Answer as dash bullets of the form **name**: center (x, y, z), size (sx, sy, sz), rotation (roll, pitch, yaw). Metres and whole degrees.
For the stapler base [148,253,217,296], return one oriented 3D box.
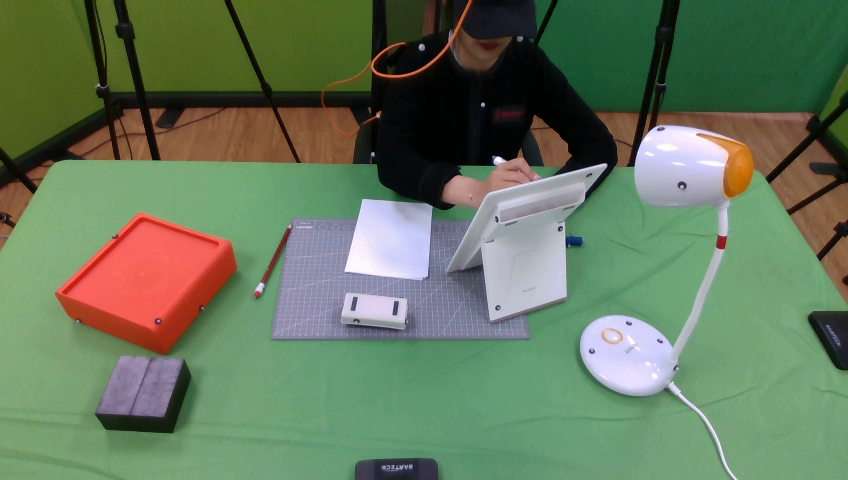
- **stapler base**: center (-0.443, 0.059, 1.109), size (0.130, 0.024, 0.041), rotation (24, 51, 11)

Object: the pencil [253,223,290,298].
- **pencil**: center (-0.286, 0.033, 1.150), size (0.012, 0.012, 0.193), rotation (9, 46, 4)

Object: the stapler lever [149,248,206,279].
- **stapler lever**: center (-0.443, 0.037, 1.084), size (0.118, 0.040, 0.027), rotation (19, 50, 17)

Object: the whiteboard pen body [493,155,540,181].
- **whiteboard pen body**: center (0.168, -0.114, 1.032), size (0.017, 0.017, 0.140), rotation (-27, 44, -27)

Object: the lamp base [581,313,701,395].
- **lamp base**: center (0.361, 0.144, 0.972), size (0.178, 0.181, 0.160), rotation (34, 53, 23)

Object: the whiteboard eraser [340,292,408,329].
- **whiteboard eraser**: center (-0.087, 0.125, 1.052), size (0.113, 0.042, 0.055), rotation (5, 45, 1)

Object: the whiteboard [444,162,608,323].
- **whiteboard**: center (0.186, 0.026, 1.028), size (0.217, 0.306, 0.143), rotation (-14, 68, -17)

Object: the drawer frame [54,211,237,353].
- **drawer frame**: center (-0.473, 0.067, 1.055), size (0.201, 0.083, 0.212), rotation (17, 48, 11)

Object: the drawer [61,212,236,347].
- **drawer**: center (-0.473, 0.064, 1.059), size (0.194, 0.073, 0.211), rotation (18, 48, 11)

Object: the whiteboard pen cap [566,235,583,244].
- **whiteboard pen cap**: center (0.303, 0.000, 1.221), size (0.033, 0.018, 0.018), rotation (3, 46, -2)

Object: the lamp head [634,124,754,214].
- **lamp head**: center (0.351, -0.089, 0.776), size (0.112, 0.113, 0.122), rotation (-30, 30, -28)
